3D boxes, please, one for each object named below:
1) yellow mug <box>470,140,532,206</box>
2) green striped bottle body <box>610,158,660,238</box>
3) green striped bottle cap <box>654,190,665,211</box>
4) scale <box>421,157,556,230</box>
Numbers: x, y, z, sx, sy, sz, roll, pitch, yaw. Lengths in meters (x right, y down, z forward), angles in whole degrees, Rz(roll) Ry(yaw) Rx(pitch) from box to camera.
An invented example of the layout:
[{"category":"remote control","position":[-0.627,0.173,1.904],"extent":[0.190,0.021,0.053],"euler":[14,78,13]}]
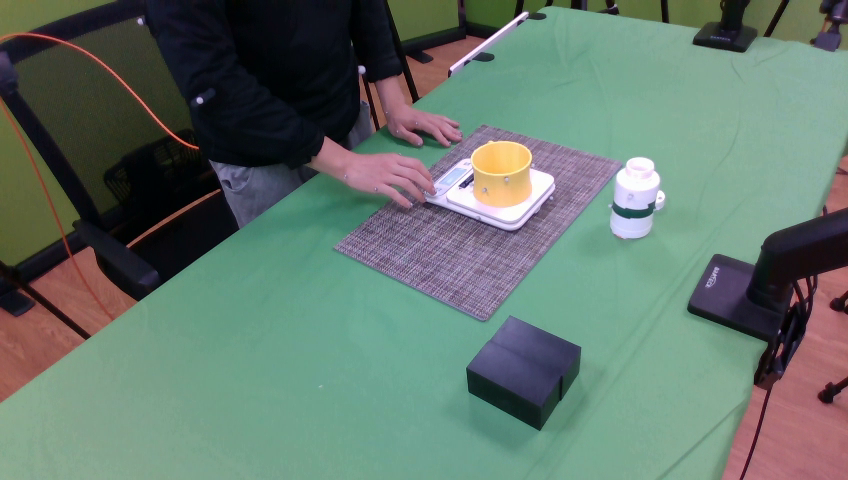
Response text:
[{"category":"yellow mug","position":[0.125,-0.121,1.004],"extent":[0.100,0.064,0.130],"euler":[-13,40,-5]},{"category":"green striped bottle body","position":[0.323,-0.066,0.923],"extent":[0.063,0.120,0.063],"euler":[-4,41,4]},{"category":"green striped bottle cap","position":[0.375,-0.066,0.998],"extent":[0.044,0.020,0.044],"euler":[-8,37,7]},{"category":"scale","position":[0.110,-0.089,1.042],"extent":[0.199,0.032,0.149],"euler":[23,48,31]}]
